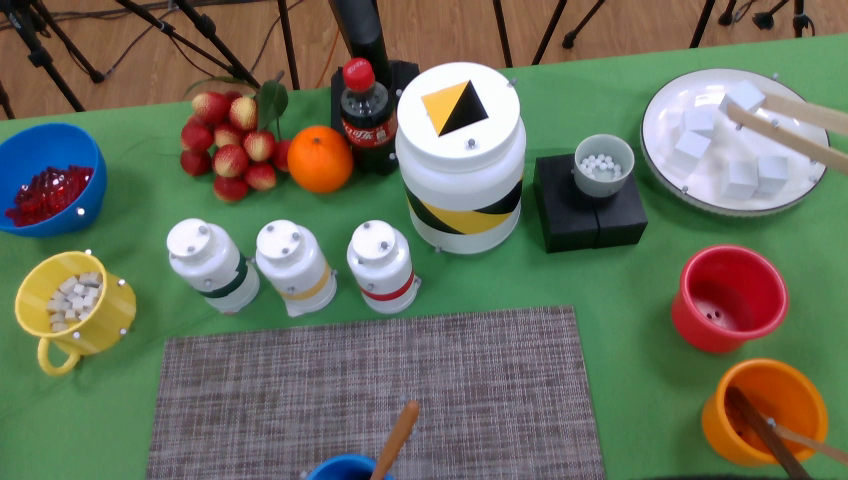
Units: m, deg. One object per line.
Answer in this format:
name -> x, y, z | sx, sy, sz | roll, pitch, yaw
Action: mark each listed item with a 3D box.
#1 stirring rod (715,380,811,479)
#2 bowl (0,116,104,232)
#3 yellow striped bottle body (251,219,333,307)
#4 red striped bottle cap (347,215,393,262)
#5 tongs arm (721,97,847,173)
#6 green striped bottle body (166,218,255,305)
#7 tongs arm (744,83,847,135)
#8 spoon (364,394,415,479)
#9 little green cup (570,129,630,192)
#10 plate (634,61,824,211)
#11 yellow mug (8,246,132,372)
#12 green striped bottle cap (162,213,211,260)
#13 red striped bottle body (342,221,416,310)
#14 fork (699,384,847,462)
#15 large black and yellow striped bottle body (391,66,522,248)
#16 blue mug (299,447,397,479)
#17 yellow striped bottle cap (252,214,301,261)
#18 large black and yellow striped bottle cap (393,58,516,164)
stirring rod -> 0.293, 0.169, 0.516 | 0.014, 0.006, 0.175 | -3, 20, 1
bowl -> -0.451, -0.066, 0.731 | 0.151, 0.077, 0.150 | -2, 63, 4
yellow striped bottle body -> -0.140, 0.021, 0.637 | 0.063, 0.121, 0.062 | -2, 62, 5
red striped bottle cap -> -0.052, -0.002, 0.582 | 0.044, 0.018, 0.044 | 0, 61, 1
tongs arm -> 0.424, -0.067, 0.545 | 0.051, 0.027, 0.380 | -27, 37, -3
green striped bottle body -> -0.229, 0.020, 0.645 | 0.063, 0.120, 0.062 | -2, 63, 4
tongs arm -> 0.443, -0.079, 0.548 | 0.028, 0.028, 0.383 | -27, 37, -9
spoon -> -0.042, 0.194, 0.497 | 0.041, 0.195, 0.021 | 38, 37, 22
little green cup -> 0.187, -0.083, 0.651 | 0.061, 0.039, 0.061 | -1, 61, 2
plate -> 0.352, -0.121, 0.714 | 0.209, 0.038, 0.207 | -2, 64, 4
yellow mug -> -0.388, 0.079, 0.659 | 0.100, 0.064, 0.130 | 4, 64, 6
green striped bottle cap -> -0.235, -0.004, 0.599 | 0.044, 0.020, 0.044 | 0, 64, 1
red striped bottle body -> -0.046, 0.023, 0.629 | 0.063, 0.121, 0.062 | -3, 61, 6
fork -> 0.322, 0.168, 0.506 | 0.028, 0.019, 0.206 | -30, 20, -19
large black and yellow striped bottle body -> 0.036, -0.085, 0.641 | 0.131, 0.185, 0.129 | -2, 63, 4
blue mug -> -0.072, 0.243, 0.524 | 0.082, 0.107, 0.116 | 39, 72, 22
yellow striped bottle cap -> -0.144, -0.003, 0.591 | 0.044, 0.019, 0.044 | -2, 64, 3
large black and yellow striped bottle cap -> 0.028, -0.123, 0.565 | 0.115, 0.019, 0.114 | -2, 62, 5
